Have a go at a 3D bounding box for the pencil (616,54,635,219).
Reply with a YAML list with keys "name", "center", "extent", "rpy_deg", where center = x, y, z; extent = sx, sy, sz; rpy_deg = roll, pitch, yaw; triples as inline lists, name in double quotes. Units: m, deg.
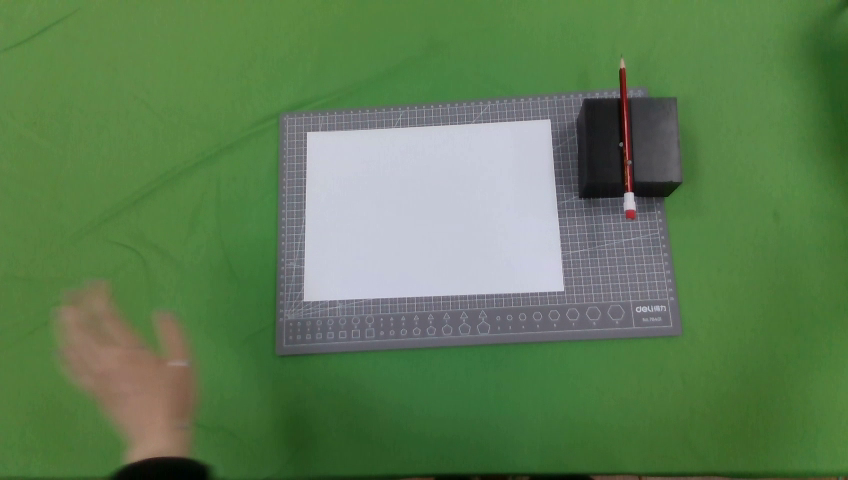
- name: "pencil"
  center: [0.218, -0.116, 0.660]
  extent: [0.012, 0.012, 0.193]
  rpy_deg: [0, 77, 4]
